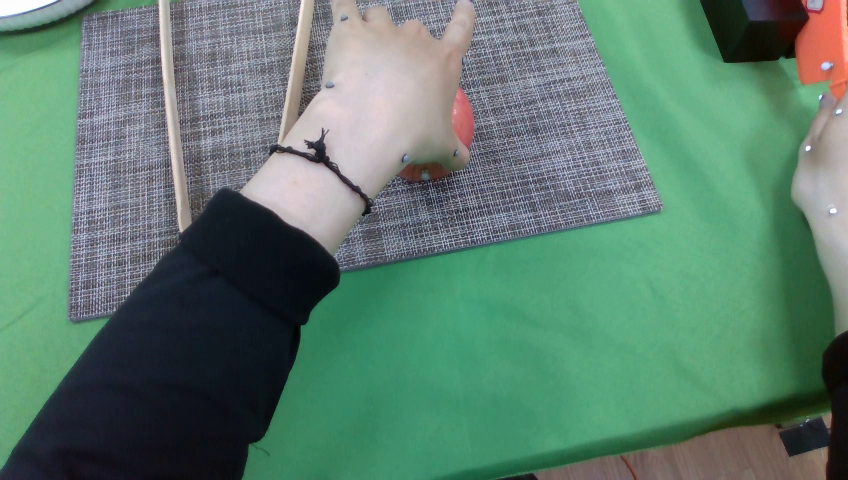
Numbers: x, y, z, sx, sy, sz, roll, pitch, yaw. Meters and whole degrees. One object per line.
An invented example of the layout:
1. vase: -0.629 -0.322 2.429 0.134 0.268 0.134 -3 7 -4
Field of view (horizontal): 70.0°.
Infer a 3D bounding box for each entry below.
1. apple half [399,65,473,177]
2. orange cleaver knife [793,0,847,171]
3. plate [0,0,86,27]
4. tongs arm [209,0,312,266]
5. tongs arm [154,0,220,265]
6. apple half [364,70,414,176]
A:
1. apple half: 0.010 -0.089 0.461 0.053 0.075 0.080 -7 61 -7
2. orange cleaver knife: 0.323 -0.159 0.487 0.012 0.077 0.211 -8 93 2
3. plate: -0.376 -0.275 0.570 0.209 0.038 0.207 0 65 0
4. tongs arm: -0.127 -0.159 0.517 0.051 0.027 0.381 0 66 -1
5. tongs arm: -0.211 -0.152 0.515 0.028 0.028 0.384 -11 66 -10
6. apple half: -0.028 -0.083 0.456 0.033 0.082 0.080 -7 65 -7
